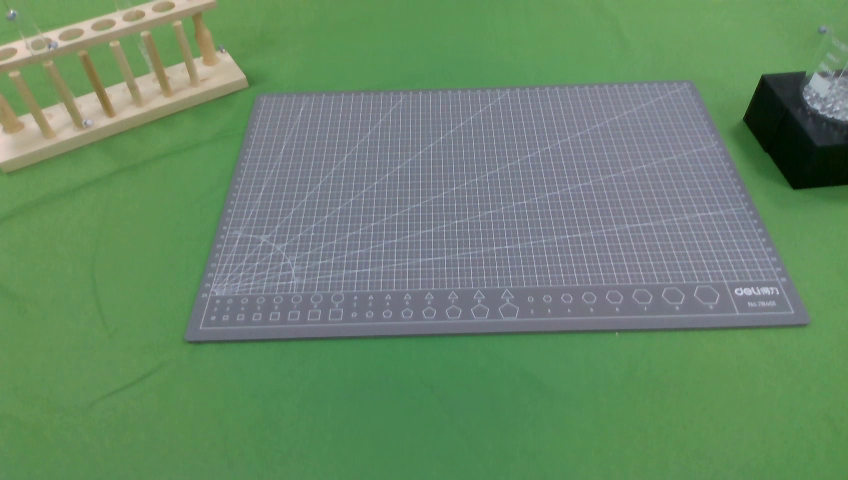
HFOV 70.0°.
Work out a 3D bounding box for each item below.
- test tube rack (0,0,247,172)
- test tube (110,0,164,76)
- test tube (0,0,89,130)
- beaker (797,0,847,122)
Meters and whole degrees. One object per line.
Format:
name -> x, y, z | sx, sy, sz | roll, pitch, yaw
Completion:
test tube rack -> -0.308, -0.161, 0.591 | 0.242, 0.086, 0.066 | -26, 53, -19
test tube -> -0.286, -0.221, 0.575 | 0.017, 0.152, 0.017 | -4, 50, 6
test tube -> -0.336, -0.161, 0.533 | 0.017, 0.152, 0.017 | -1, 47, 2
beaker -> 0.350, -0.154, 0.482 | 0.074, 0.101, 0.083 | -23, 51, -16
